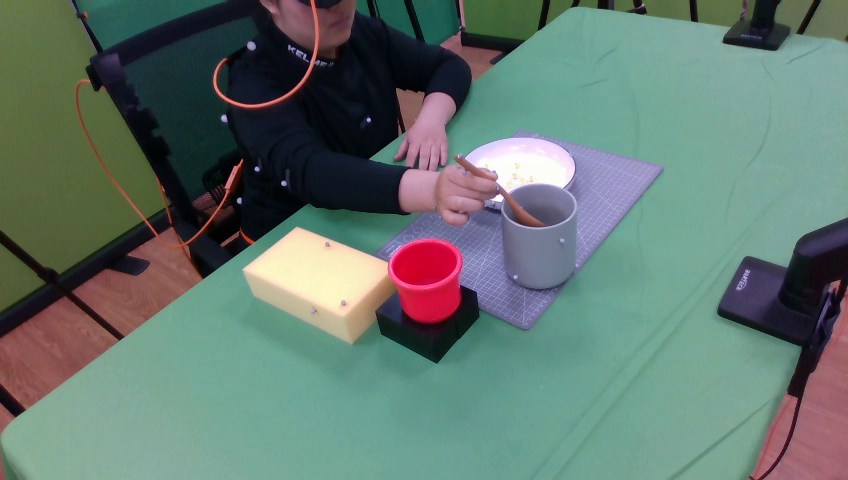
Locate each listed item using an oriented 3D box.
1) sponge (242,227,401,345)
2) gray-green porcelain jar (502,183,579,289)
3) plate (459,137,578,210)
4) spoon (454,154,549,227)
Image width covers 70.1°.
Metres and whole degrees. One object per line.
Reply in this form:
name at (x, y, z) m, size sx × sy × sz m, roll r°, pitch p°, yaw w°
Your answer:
sponge at (-0.153, 0.063, 0.907) m, size 0.205 × 0.061 × 0.118 m, roll 19°, pitch 48°, yaw 29°
gray-green porcelain jar at (0.167, -0.001, 0.866) m, size 0.106 × 0.127 × 0.105 m, roll -5°, pitch 40°, yaw 5°
plate at (0.166, -0.113, 1.069) m, size 0.207 × 0.039 × 0.206 m, roll -5°, pitch 40°, yaw 5°
spoon at (0.106, -0.060, 0.809) m, size 0.041 × 0.195 × 0.021 m, roll 8°, pitch 64°, yaw 55°
